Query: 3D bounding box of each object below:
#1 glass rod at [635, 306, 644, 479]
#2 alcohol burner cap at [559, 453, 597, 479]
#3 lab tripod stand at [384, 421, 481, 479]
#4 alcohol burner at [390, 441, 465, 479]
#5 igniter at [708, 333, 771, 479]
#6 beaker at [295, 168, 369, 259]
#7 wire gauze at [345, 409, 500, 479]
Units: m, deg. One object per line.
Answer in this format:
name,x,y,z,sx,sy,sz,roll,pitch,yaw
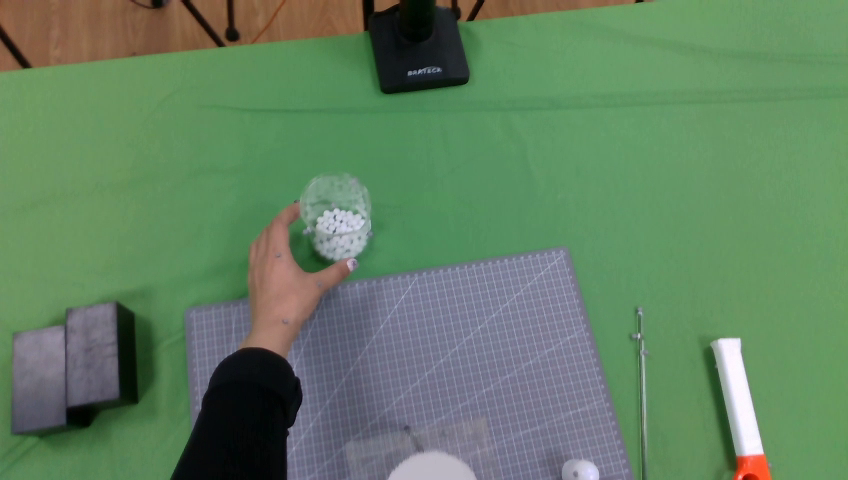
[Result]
glass rod,0.243,0.171,0.685,0.008,0.008,0.198,7,70,-3
alcohol burner cap,0.163,0.238,0.633,0.034,0.048,0.033,1,68,-3
lab tripod stand,0.001,0.239,0.570,0.148,0.132,0.147,1,69,-3
alcohol burner,0.004,0.233,0.583,0.078,0.120,0.077,2,68,-4
igniter,0.354,0.239,0.660,0.057,0.025,0.274,2,70,-16
beaker,-0.096,-0.024,0.676,0.084,0.101,0.074,34,71,7
wire gauze,0.005,0.213,0.507,0.125,0.011,0.120,-9,70,-9
